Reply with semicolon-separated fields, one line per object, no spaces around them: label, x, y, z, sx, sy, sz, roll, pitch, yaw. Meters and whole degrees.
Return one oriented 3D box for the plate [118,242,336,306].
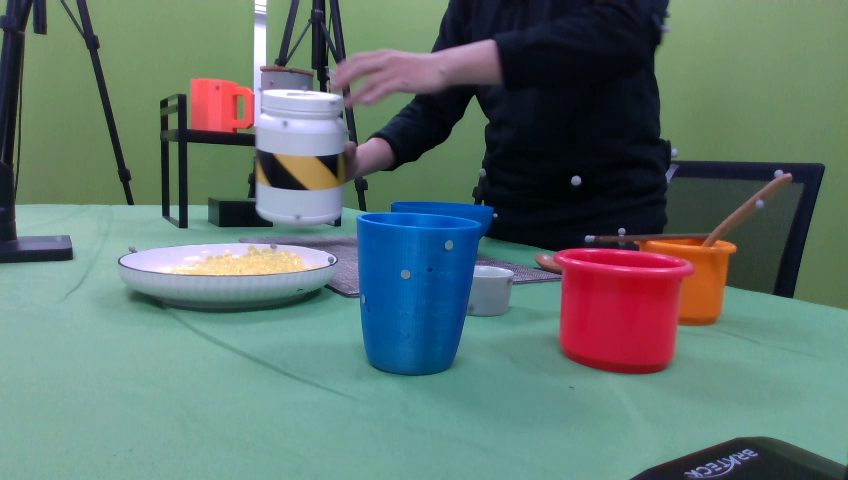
plate;-0.194;0.033;0.615;0.209;0.038;0.209;2;7;0

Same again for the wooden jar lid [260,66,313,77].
wooden jar lid;-0.283;-0.339;1.244;0.108;0.020;0.108;5;8;0

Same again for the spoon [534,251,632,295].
spoon;0.193;0.038;0.753;0.042;0.021;0.193;13;3;-20

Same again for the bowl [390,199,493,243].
bowl;0.023;-0.016;0.874;0.151;0.077;0.151;3;7;0

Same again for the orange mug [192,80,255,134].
orange mug;-0.389;-0.257;1.172;0.126;0.100;0.083;-1;7;9

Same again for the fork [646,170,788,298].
fork;0.256;0.004;0.543;0.028;0.018;0.207;3;-37;-10

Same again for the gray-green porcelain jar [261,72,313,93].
gray-green porcelain jar;-0.284;-0.276;1.253;0.106;0.126;0.106;2;8;0

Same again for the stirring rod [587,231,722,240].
stirring rod;0.227;-0.005;0.585;0.177;0.006;0.014;-1;6;-28

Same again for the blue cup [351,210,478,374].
blue cup;-0.009;0.034;0.414;0.093;0.100;0.092;4;8;0

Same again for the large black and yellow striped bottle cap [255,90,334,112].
large black and yellow striped bottle cap;-0.189;-0.205;0.889;0.115;0.019;0.115;4;19;-1

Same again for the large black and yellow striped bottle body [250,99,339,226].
large black and yellow striped bottle body;-0.195;-0.125;0.914;0.131;0.184;0.130;3;19;-1

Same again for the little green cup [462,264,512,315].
little green cup;0.053;0.047;0.579;0.061;0.038;0.061;3;8;0
